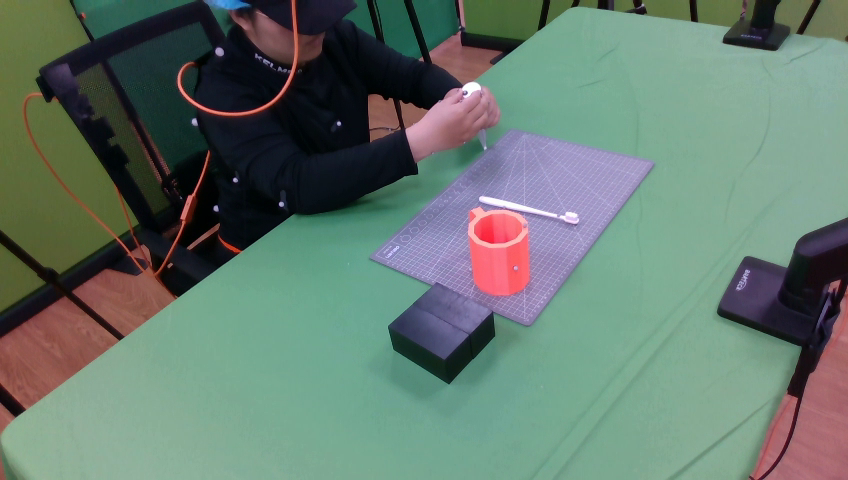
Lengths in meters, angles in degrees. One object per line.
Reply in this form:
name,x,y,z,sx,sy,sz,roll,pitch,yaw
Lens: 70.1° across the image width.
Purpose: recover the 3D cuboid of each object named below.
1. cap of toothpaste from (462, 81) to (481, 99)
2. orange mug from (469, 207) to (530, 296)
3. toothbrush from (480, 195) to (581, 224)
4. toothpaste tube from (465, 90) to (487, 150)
cap of toothpaste,0.084,-0.262,1.062,0.037,0.011,0.037,-5,67,12
orange mug,0.104,0.008,0.894,0.084,0.101,0.125,-22,46,-14
toothbrush,0.175,-0.054,1.016,0.180,0.017,0.014,15,58,29
toothpaste tube,0.104,-0.234,1.133,0.034,0.166,0.055,5,68,16
